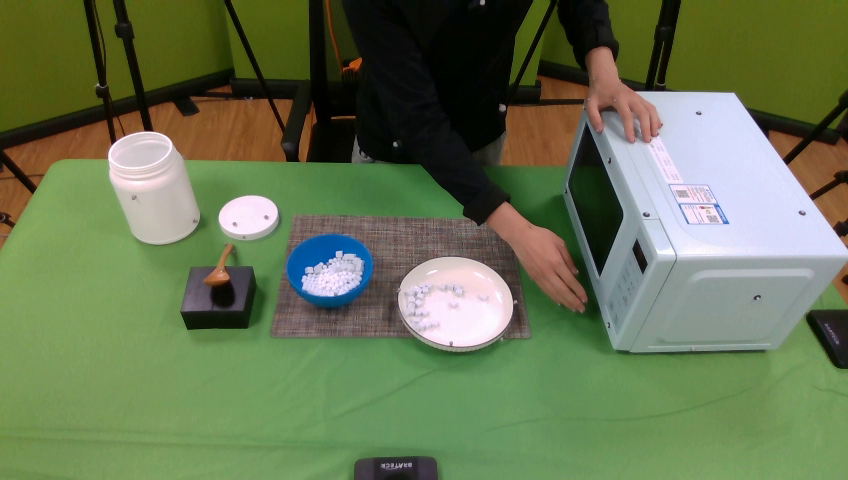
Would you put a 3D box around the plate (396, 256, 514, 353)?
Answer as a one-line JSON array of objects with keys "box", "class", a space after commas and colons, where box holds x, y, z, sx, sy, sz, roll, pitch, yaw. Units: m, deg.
[{"box": [0.053, 0.116, 1.077, 0.209, 0.038, 0.208, 2, 46, -2], "class": "plate"}]

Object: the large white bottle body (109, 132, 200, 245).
[{"box": [-0.506, -0.097, 1.141, 0.131, 0.185, 0.130, 2, 46, -2], "class": "large white bottle body"}]

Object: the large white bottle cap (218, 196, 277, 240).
[{"box": [-0.355, -0.045, 1.220, 0.115, 0.018, 0.114, 2, 45, -2], "class": "large white bottle cap"}]

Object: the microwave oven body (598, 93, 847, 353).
[{"box": [0.475, -0.042, 1.109, 0.326, 0.261, 0.438, -1, 45, -4], "class": "microwave oven body"}]

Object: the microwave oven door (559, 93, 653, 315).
[{"box": [0.327, -0.074, 1.123, 0.039, 0.245, 0.353, -1, 46, -5], "class": "microwave oven door"}]

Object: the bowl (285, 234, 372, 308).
[{"box": [-0.167, 0.068, 1.077, 0.151, 0.077, 0.150, 3, 46, -3], "class": "bowl"}]

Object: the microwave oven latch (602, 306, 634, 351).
[{"box": [0.332, 0.153, 1.044, 0.030, 0.029, 0.078, 0, 45, -4], "class": "microwave oven latch"}]

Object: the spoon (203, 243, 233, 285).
[{"box": [-0.360, 0.039, 1.087, 0.041, 0.022, 0.192, -5, 24, -7], "class": "spoon"}]
